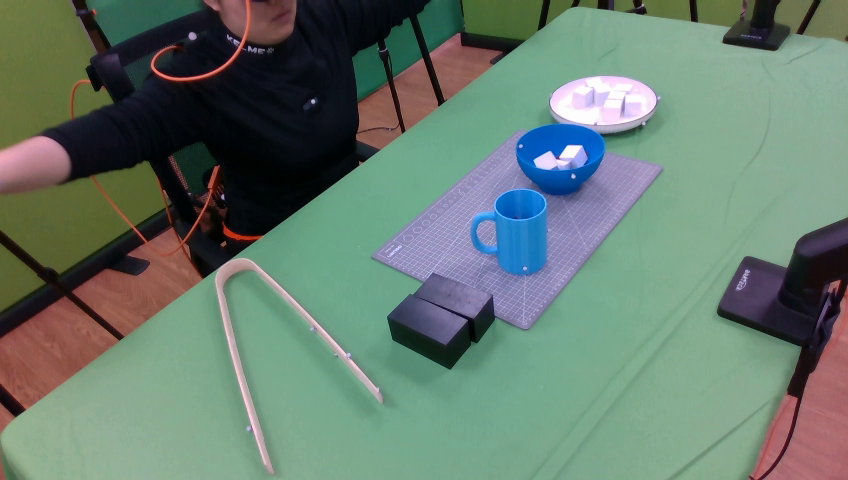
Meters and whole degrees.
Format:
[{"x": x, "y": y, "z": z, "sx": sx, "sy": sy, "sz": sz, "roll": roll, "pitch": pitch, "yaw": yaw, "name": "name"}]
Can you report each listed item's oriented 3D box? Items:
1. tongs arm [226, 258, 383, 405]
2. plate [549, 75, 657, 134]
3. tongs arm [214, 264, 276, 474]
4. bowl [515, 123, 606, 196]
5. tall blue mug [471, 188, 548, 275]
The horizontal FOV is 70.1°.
[{"x": -0.185, "y": 0.121, "z": 0.863, "sx": 0.051, "sy": 0.027, "sz": 0.381, "roll": -34, "pitch": 45, "yaw": -20, "name": "tongs arm"}, {"x": 0.357, "y": -0.269, "z": 1.220, "sx": 0.209, "sy": 0.038, "sz": 0.208, "roll": -5, "pitch": 41, "yaw": 5, "name": "plate"}, {"x": -0.252, "y": 0.158, "z": 0.838, "sx": 0.028, "sy": 0.028, "sz": 0.384, "roll": -27, "pitch": 43, "yaw": -8, "name": "tongs arm"}, {"x": 0.235, "y": -0.131, "z": 1.045, "sx": 0.151, "sy": 0.077, "sz": 0.150, "roll": -5, "pitch": 40, "yaw": 5, "name": "bowl"}, {"x": 0.131, "y": -0.007, "z": 0.893, "sx": 0.107, "sy": 0.108, "sz": 0.077, "roll": -20, "pitch": 42, "yaw": -11, "name": "tall blue mug"}]
